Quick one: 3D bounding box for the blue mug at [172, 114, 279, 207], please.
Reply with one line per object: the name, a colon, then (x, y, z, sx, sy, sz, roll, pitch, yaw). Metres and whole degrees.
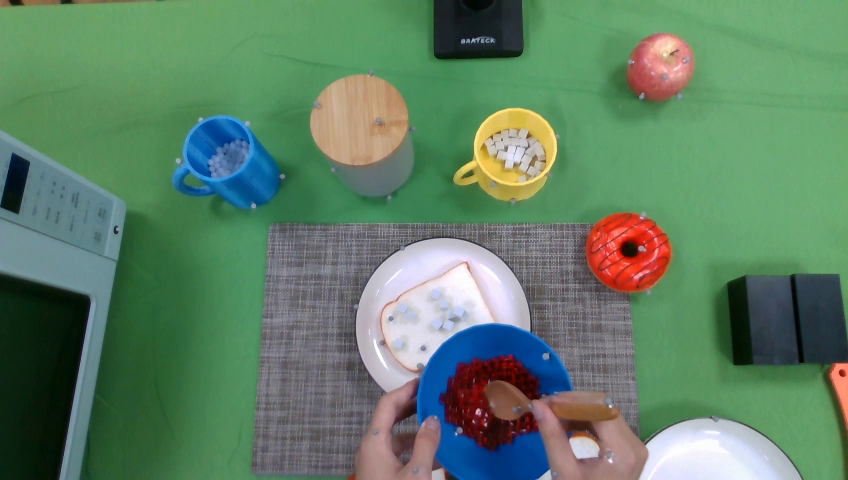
blue mug: (-0.248, -0.087, 0.742, 0.116, 0.106, 0.082, -25, 77, -3)

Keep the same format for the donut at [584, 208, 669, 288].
donut: (0.241, 0.010, 0.725, 0.099, 0.048, 0.098, 0, 78, 3)

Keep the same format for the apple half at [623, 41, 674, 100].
apple half: (0.271, -0.203, 0.759, 0.033, 0.081, 0.081, -32, 77, -9)

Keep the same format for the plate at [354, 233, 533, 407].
plate: (0.023, 0.096, 0.720, 0.207, 0.039, 0.206, -1, 77, 3)

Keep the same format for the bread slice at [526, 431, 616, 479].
bread slice: (0.146, 0.264, 0.653, 0.135, 0.018, 0.106, -3, 73, -18)

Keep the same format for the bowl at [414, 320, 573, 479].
bowl: (0.062, 0.158, 0.597, 0.151, 0.077, 0.150, 1, 77, -5)

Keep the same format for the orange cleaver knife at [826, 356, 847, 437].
orange cleaver knife: (0.502, 0.229, 0.681, 0.077, 0.012, 0.210, 2, 76, -4)

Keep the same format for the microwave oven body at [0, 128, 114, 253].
microwave oven body: (-0.558, 0.121, 0.628, 0.326, 0.261, 0.439, 3, 78, 3)

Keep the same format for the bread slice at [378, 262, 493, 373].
bread slice: (0.013, 0.098, 0.722, 0.131, 0.019, 0.104, -25, 77, -5)

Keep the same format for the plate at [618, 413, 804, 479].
plate: (0.313, 0.296, 0.665, 0.209, 0.038, 0.208, -1, 77, 3)

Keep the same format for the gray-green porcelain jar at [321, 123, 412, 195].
gray-green porcelain jar: (-0.068, -0.116, 0.730, 0.106, 0.127, 0.105, -1, 77, 3)

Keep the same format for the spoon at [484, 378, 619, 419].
spoon: (0.102, 0.142, 0.524, 0.022, 0.193, 0.041, -20, 88, -21)

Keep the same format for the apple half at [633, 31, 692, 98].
apple half: (0.304, -0.224, 0.763, 0.053, 0.075, 0.080, -31, 74, -10)

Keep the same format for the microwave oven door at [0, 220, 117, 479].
microwave oven door: (-0.416, 0.169, 0.605, 0.039, 0.245, 0.354, 3, 77, 4)

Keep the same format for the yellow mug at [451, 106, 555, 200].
yellow mug: (0.094, -0.100, 0.750, 0.131, 0.064, 0.099, -24, 77, -2)

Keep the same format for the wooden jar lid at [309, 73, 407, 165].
wooden jar lid: (-0.072, -0.131, 0.670, 0.108, 0.021, 0.108, -1, 75, 3)

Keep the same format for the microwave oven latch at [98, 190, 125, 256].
microwave oven latch: (-0.394, -0.022, 0.751, 0.030, 0.029, 0.079, 5, 78, 4)
